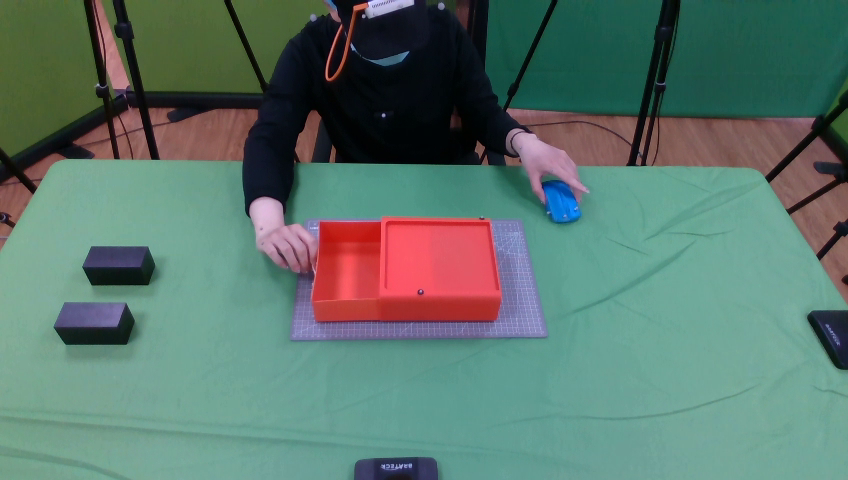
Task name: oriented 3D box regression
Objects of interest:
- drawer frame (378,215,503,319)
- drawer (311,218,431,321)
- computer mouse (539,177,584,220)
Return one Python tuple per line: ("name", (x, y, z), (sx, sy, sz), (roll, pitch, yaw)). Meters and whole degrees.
("drawer frame", (0.024, 0.047, 1.103), (0.214, 0.083, 0.200), (1, 46, -4))
("drawer", (-0.091, 0.049, 1.097), (0.212, 0.073, 0.193), (0, 46, -3))
("computer mouse", (0.292, -0.092, 1.288), (0.063, 0.041, 0.116), (-9, 52, -14))
